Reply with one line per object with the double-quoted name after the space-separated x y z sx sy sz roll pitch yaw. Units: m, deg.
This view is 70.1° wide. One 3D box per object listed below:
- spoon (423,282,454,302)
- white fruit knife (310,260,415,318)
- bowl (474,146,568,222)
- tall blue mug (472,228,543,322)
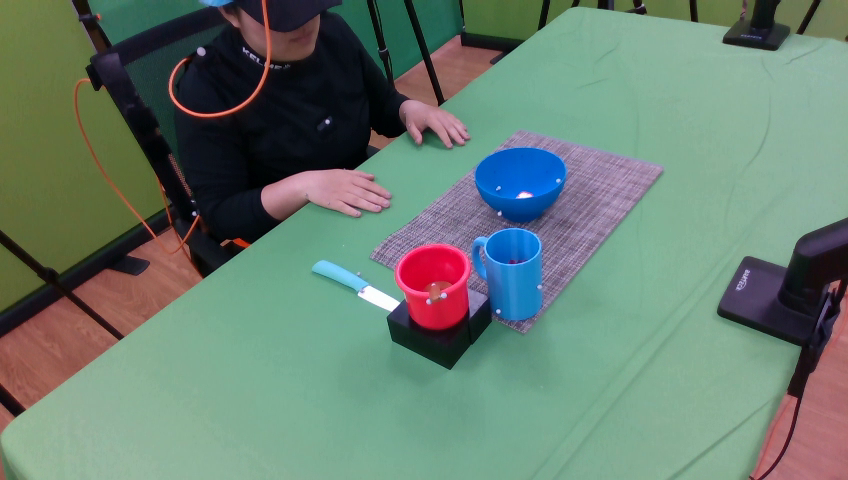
0.015 0.062 0.733 0.041 0.021 0.194 -5 -4 3 "spoon"
-0.094 0.074 0.920 0.206 0.016 0.027 24 77 31 "white fruit knife"
0.161 -0.083 1.001 0.151 0.077 0.150 -5 40 5 "bowl"
0.110 0.046 0.832 0.107 0.108 0.077 6 43 18 "tall blue mug"
